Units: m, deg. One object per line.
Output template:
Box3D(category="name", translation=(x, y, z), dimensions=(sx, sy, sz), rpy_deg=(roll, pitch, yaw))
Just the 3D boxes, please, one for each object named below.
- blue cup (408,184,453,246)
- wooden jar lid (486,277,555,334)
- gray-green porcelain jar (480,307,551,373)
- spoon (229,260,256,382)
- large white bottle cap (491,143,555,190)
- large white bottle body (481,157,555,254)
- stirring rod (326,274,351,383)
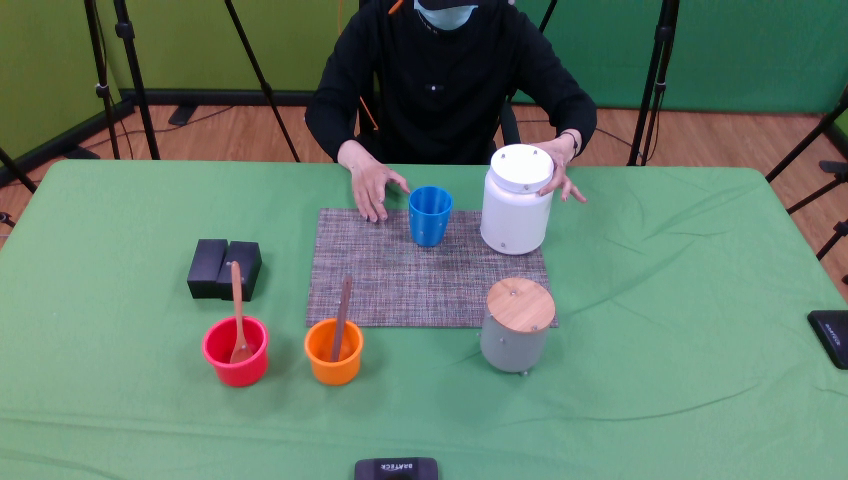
Box3D(category="blue cup", translation=(0.008, -0.043, 1.177), dimensions=(0.093, 0.101, 0.092), rpy_deg=(3, 47, -3))
Box3D(category="wooden jar lid", translation=(0.150, 0.105, 0.948), dimensions=(0.108, 0.021, 0.107), rpy_deg=(3, 47, -3))
Box3D(category="gray-green porcelain jar", translation=(0.148, 0.148, 0.992), dimensions=(0.106, 0.127, 0.105), rpy_deg=(2, 46, -2))
Box3D(category="spoon", translation=(-0.294, 0.129, 0.966), dimensions=(0.042, 0.021, 0.193), rpy_deg=(-4, 91, -8))
Box3D(category="large white bottle cap", translation=(0.179, -0.135, 1.099), dimensions=(0.115, 0.018, 0.114), rpy_deg=(0, 46, 0))
Box3D(category="large white bottle body", translation=(0.179, -0.077, 1.160), dimensions=(0.130, 0.185, 0.130), rpy_deg=(0, 46, 0))
Box3D(category="stirring rod", translation=(-0.137, 0.142, 0.971), dimensions=(0.014, 0.006, 0.176), rpy_deg=(9, 89, 1))
